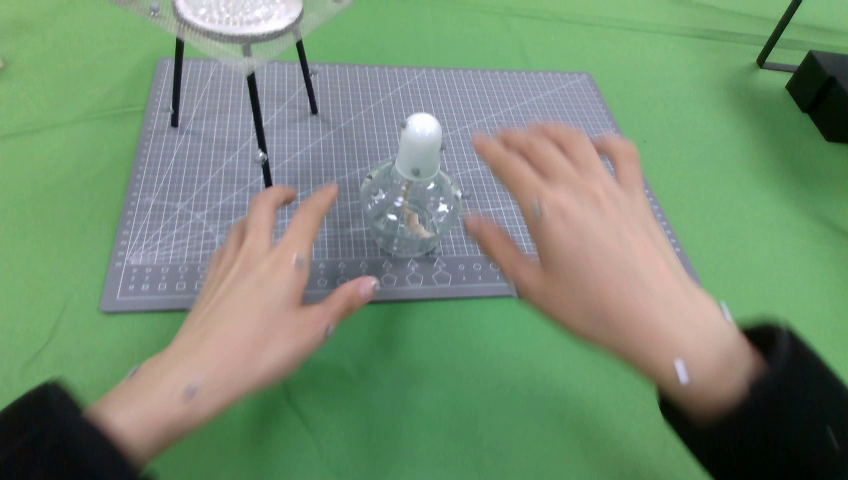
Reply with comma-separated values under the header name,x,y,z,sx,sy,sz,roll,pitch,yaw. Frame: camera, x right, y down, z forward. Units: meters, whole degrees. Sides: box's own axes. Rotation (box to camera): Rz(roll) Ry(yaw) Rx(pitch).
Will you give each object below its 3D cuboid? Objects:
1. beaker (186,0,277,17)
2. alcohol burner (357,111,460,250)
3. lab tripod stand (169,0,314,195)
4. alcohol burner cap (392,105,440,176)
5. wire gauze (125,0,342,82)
name,x,y,z,sx,sy,sz,roll,pitch,yaw
beaker,-0.130,-0.203,0.387,0.073,0.101,0.083,30,53,14
alcohol burner,-0.009,-0.048,0.444,0.078,0.120,0.077,6,49,-7
lab tripod stand,-0.139,-0.130,0.475,0.149,0.132,0.147,6,50,-7
alcohol burner cap,-0.004,-0.070,0.416,0.034,0.048,0.033,4,54,-5
wire gauze,-0.132,-0.171,0.425,0.124,0.011,0.121,31,55,10
